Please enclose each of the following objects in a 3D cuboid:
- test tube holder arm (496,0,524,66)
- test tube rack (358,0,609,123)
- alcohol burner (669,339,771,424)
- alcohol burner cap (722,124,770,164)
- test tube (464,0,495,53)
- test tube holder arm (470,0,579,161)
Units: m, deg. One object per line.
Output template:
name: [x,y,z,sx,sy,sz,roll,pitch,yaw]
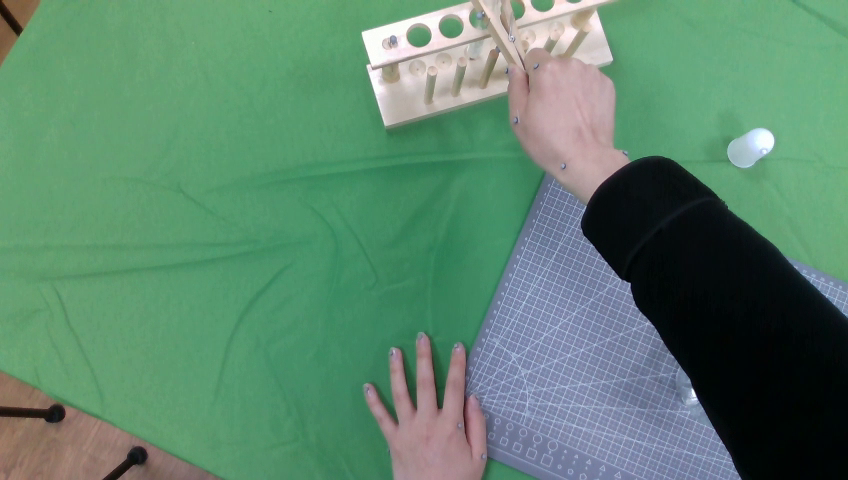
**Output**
test tube holder arm: [0.069,-0.187,0.518,0.010,0.015,0.087,-11,80,-11]
test tube rack: [0.065,-0.187,0.581,0.242,0.085,0.066,-17,85,-4]
alcohol burner: [0.272,0.129,0.547,0.078,0.119,0.077,0,82,-2]
alcohol burner cap: [0.326,-0.098,0.606,0.034,0.048,0.033,0,80,-1]
test tube: [0.053,-0.206,0.531,0.017,0.150,0.017,1,78,-5]
test tube holder arm: [0.081,-0.144,0.510,0.013,0.015,0.178,-26,83,-12]
